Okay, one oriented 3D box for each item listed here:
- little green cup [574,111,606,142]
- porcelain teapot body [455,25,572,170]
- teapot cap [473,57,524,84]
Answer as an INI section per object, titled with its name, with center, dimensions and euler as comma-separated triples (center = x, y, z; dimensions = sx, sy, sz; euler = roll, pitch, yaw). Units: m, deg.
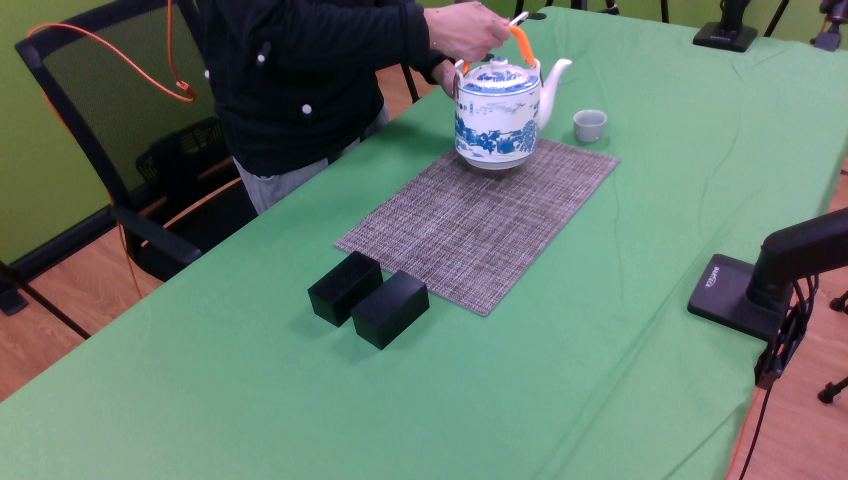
[little green cup]
center = 0.318, -0.217, 1.164
dimensions = 0.061, 0.039, 0.061
euler = -3, 41, 3
[porcelain teapot body]
center = 0.151, -0.249, 1.025
dimensions = 0.206, 0.226, 0.144
euler = -12, 34, -13
[teapot cap]
center = 0.123, -0.277, 0.997
dimensions = 0.085, 0.044, 0.085
euler = -2, 38, 2
